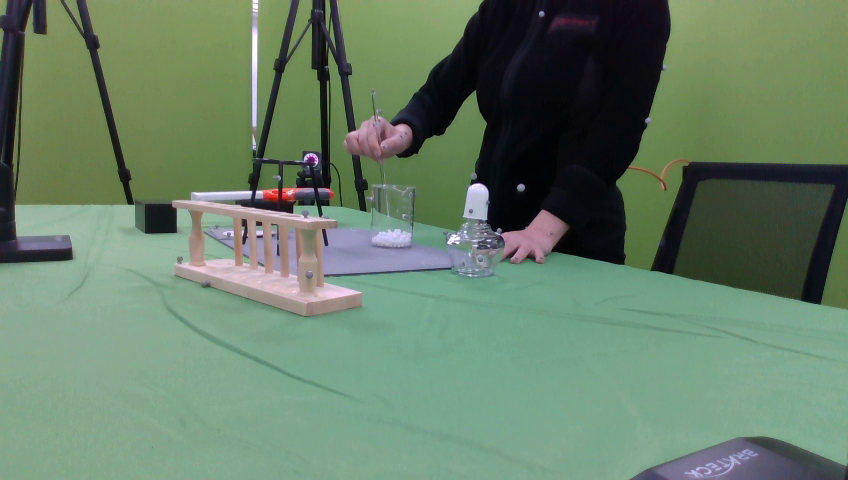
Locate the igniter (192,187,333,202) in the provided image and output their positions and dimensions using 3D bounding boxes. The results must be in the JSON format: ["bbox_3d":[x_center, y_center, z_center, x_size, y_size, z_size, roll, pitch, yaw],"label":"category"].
[{"bbox_3d":[-0.316,-0.090,1.214,0.278,0.025,0.057,-5,13,-31],"label":"igniter"}]

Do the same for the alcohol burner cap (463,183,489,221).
[{"bbox_3d":[0.067,-0.048,0.765,0.034,0.048,0.034,5,5,0],"label":"alcohol burner cap"}]

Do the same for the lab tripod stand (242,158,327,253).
[{"bbox_3d":[-0.207,-0.054,0.895,0.148,0.131,0.148,3,5,0],"label":"lab tripod stand"}]

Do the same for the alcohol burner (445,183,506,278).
[{"bbox_3d":[0.066,-0.013,0.771,0.078,0.119,0.078,0,7,0],"label":"alcohol burner"}]

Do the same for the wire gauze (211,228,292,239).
[{"bbox_3d":[-0.298,-0.013,1.039,0.122,0.011,0.124,-2,6,-27],"label":"wire gauze"}]

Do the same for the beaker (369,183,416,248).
[{"bbox_3d":[-0.050,-0.039,0.971,0.074,0.100,0.083,-1,9,-25],"label":"beaker"}]

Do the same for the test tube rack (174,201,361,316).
[{"bbox_3d":[-0.169,0.010,0.622,0.241,0.085,0.067,9,9,41],"label":"test tube rack"}]

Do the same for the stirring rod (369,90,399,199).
[{"bbox_3d":[-0.064,-0.152,0.969,0.006,0.176,0.014,-22,16,-38],"label":"stirring rod"}]
